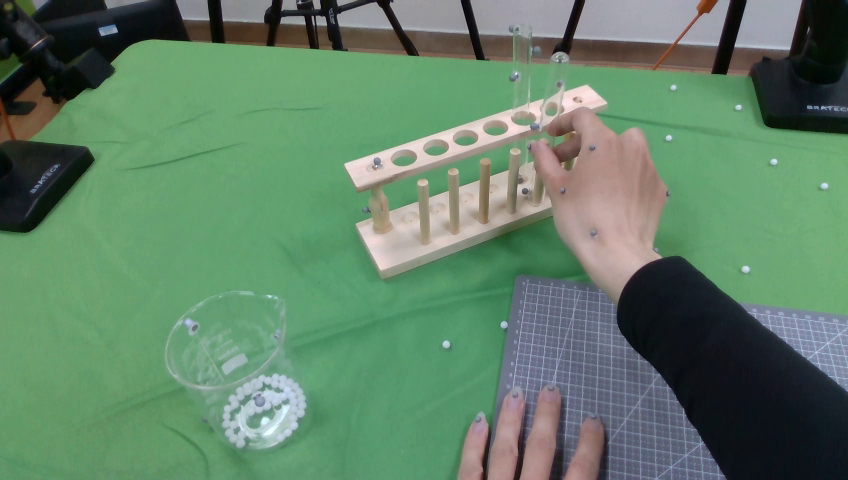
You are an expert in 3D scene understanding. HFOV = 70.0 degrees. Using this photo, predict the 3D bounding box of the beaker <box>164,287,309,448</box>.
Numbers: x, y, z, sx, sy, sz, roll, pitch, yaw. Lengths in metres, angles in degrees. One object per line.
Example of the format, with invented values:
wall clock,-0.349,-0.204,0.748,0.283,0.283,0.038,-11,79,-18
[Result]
beaker,-0.120,0.090,0.418,0.073,0.101,0.084,29,55,27

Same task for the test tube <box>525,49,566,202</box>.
test tube,0.102,-0.092,0.516,0.017,0.152,0.017,0,45,0

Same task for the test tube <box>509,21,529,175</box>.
test tube,0.083,-0.119,0.536,0.017,0.152,0.017,-4,45,4

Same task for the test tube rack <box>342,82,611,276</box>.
test tube rack,0.056,-0.058,0.550,0.243,0.086,0.066,-20,49,-14
